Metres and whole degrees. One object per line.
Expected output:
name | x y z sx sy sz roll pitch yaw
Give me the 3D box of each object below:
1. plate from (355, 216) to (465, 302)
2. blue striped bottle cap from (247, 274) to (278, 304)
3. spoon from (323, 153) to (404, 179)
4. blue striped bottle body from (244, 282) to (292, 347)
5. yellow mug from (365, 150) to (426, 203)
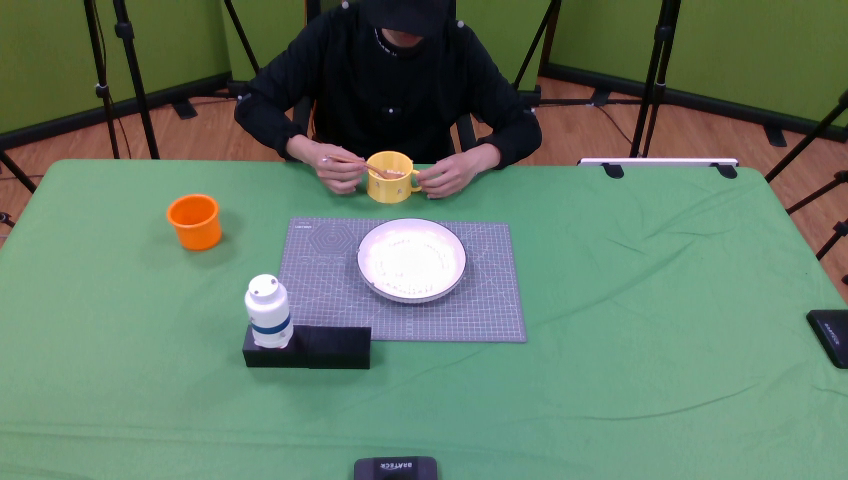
plate | -0.027 0.039 1.144 0.208 0.039 0.206 2 46 -2
blue striped bottle cap | -0.239 0.072 0.900 0.044 0.021 0.044 4 46 -4
spoon | -0.119 -0.151 1.259 0.195 0.022 0.041 19 33 -31
blue striped bottle body | -0.241 0.108 0.937 0.063 0.121 0.062 2 46 -2
yellow mug | -0.061 -0.133 1.291 0.131 0.064 0.099 8 46 3
